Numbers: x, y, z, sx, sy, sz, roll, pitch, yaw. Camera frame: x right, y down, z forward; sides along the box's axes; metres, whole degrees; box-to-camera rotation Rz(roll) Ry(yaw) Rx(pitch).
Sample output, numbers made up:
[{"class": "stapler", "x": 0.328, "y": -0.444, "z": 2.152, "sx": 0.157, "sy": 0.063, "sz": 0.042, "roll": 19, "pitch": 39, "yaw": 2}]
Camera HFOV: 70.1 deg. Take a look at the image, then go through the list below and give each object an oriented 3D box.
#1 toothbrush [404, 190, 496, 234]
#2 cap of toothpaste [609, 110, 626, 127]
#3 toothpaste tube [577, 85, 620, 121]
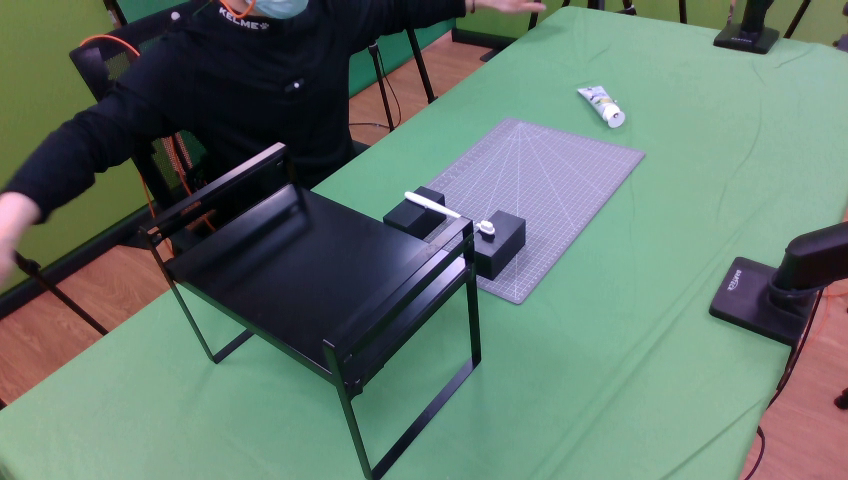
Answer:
[{"class": "toothbrush", "x": 0.036, "y": -0.047, "z": 0.942, "sx": 0.180, "sy": 0.017, "sz": 0.014, "roll": 25, "pitch": 62, "yaw": 34}, {"class": "cap of toothpaste", "x": 0.376, "y": -0.238, "z": 1.179, "sx": 0.037, "sy": 0.037, "sz": 0.011, "roll": -16, "pitch": 43, "yaw": -10}, {"class": "toothpaste tube", "x": 0.368, "y": -0.285, "z": 1.244, "sx": 0.055, "sy": 0.034, "sz": 0.164, "roll": -3, "pitch": 36, "yaw": -6}]
